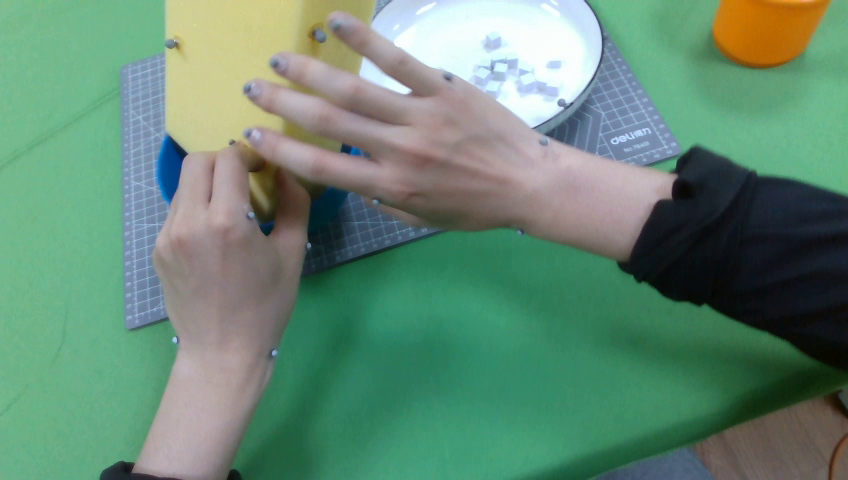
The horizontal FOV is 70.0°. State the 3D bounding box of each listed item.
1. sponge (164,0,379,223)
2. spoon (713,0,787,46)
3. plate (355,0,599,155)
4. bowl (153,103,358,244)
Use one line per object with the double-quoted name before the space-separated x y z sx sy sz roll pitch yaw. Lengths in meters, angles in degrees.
"sponge" -0.103 -0.125 0.386 0.117 0.208 0.061 42 45 18
"spoon" 0.307 -0.224 0.459 0.022 0.194 0.041 2 54 -42
"plate" 0.042 -0.154 0.523 0.209 0.038 0.207 -4 61 7
"bowl" -0.117 -0.052 0.468 0.151 0.077 0.150 -4 60 7
